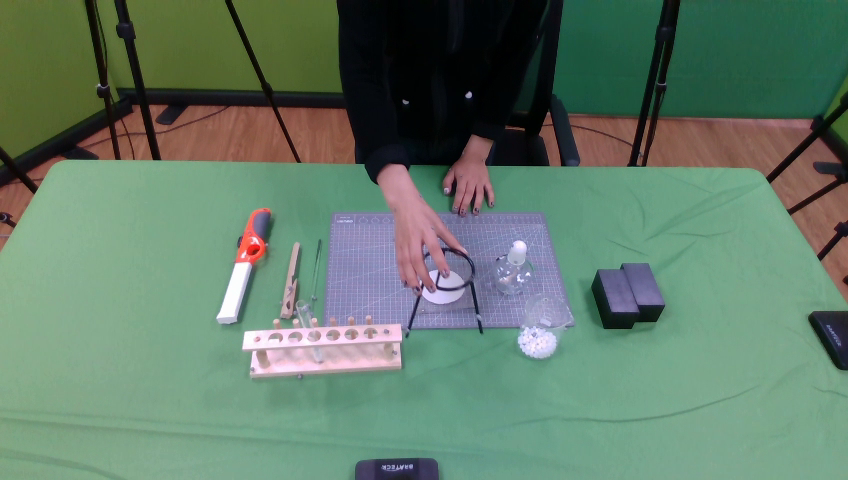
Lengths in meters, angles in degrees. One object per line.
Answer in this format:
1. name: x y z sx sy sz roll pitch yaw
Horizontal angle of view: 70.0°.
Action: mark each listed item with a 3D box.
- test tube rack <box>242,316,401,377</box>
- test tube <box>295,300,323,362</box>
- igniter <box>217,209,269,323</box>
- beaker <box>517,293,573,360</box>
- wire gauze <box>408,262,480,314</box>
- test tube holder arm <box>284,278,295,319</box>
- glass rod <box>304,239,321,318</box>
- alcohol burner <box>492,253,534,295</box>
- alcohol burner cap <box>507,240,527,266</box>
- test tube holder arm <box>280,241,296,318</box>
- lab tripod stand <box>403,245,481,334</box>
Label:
1. test tube rack: -0.161 0.166 0.983 0.242 0.085 0.066 -2 46 -6
2. test tube: -0.176 0.143 0.935 0.017 0.151 0.017 -2 46 2
3. igniter: -0.335 0.039 1.132 0.057 0.025 0.275 -4 46 6
4. beaker: 0.200 0.149 1.018 0.084 0.101 0.073 14 47 8
5. wire gauze: 0.035 0.085 1.127 0.121 0.011 0.124 -2 43 -6
6. test tube holder arm: -0.242 0.103 1.085 0.010 0.015 0.087 27 38 -29
7. glass rod: -0.207 0.068 1.127 0.008 0.008 0.198 2 43 -2
8. alcohol burner: 0.165 0.045 1.102 0.078 0.119 0.077 3 47 -3
9. alcohol burner cap: 0.167 0.021 1.075 0.034 0.048 0.033 0 55 0
10. test tube holder arm: -0.250 0.068 1.113 0.013 0.015 0.177 26 38 -30
11. lab tripod stand: 0.032 0.084 0.987 0.148 0.132 0.147 4 45 -3
